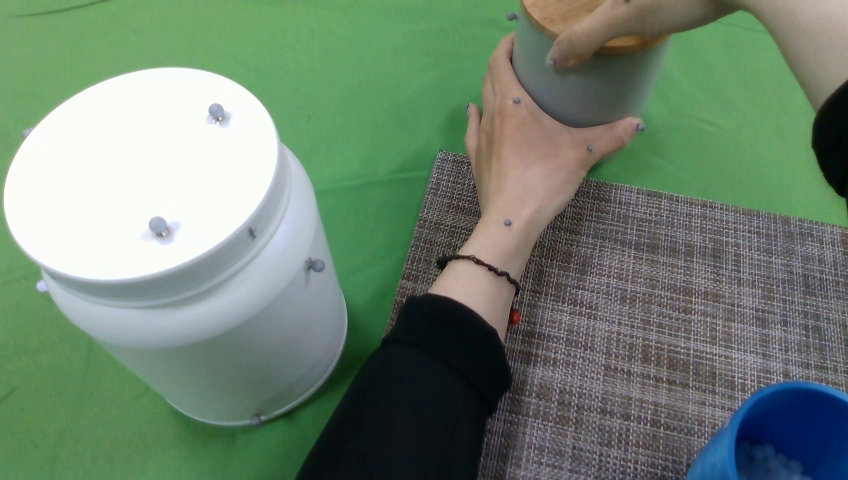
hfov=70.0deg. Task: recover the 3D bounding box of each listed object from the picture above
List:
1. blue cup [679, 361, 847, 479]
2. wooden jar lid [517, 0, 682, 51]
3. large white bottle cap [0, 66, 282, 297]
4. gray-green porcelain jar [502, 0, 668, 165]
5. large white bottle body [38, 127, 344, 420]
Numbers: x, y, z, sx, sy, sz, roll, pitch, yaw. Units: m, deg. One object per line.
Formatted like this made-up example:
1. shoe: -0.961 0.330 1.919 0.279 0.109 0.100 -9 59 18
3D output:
1. blue cup: 0.178 0.128 0.314 0.092 0.101 0.092 0 57 1
2. wooden jar lid: 0.113 -0.159 0.401 0.108 0.021 0.107 2 58 -2
3. large white bottle cap: -0.120 -0.029 0.262 0.115 0.018 0.114 0 60 0
4. gray-green porcelain jar: 0.114 -0.128 0.454 0.106 0.127 0.105 0 60 1
5. large white bottle body: -0.119 0.014 0.336 0.130 0.186 0.129 0 59 0
